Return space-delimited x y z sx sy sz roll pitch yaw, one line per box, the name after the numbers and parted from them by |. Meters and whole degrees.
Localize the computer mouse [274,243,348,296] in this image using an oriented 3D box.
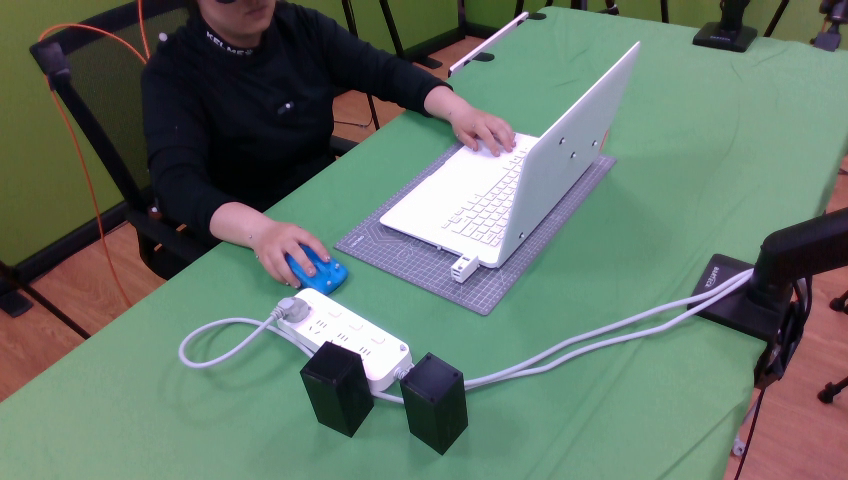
-0.176 0.043 0.934 0.116 0.041 0.063 27 48 29 | computer mouse

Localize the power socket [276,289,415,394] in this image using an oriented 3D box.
-0.113 0.133 0.821 0.225 0.033 0.072 25 50 33 | power socket

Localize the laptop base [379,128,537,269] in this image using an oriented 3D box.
0.118 -0.088 1.058 0.233 0.023 0.355 19 47 32 | laptop base

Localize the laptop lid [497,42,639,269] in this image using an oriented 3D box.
0.221 -0.130 0.913 0.013 0.242 0.357 31 51 21 | laptop lid

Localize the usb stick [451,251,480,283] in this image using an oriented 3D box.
0.066 0.036 0.899 0.021 0.027 0.059 23 45 33 | usb stick

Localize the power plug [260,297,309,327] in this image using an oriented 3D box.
-0.193 0.107 0.831 0.073 0.053 0.035 -31 43 -26 | power plug
